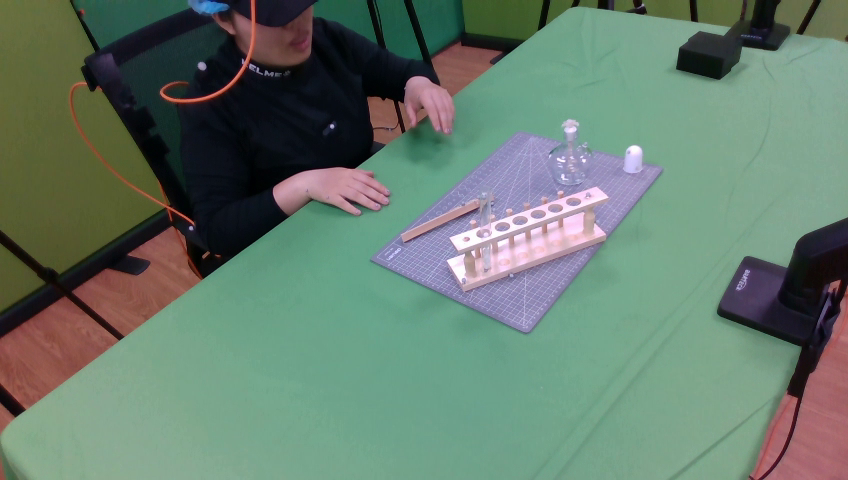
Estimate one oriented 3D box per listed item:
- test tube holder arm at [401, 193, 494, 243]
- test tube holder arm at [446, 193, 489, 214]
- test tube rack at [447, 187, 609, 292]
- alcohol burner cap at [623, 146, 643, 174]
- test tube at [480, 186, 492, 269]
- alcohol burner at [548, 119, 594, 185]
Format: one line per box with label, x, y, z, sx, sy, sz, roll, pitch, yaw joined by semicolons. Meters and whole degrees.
test tube holder arm;0.041;-0.039;1.018;0.179;0.015;0.013;-26;9;-18
test tube holder arm;0.078;-0.058;1.037;0.088;0.015;0.010;-26;9;-18
test tube rack;0.154;-0.011;0.913;0.243;0.085;0.066;-19;41;-11
alcohol burner cap;0.369;-0.143;1.061;0.034;0.048;0.033;-6;41;6
test tube;0.088;-0.014;0.852;0.017;0.151;0.017;-3;43;3
alcohol burner;0.254;-0.155;1.043;0.078;0.120;0.077;-7;40;6
